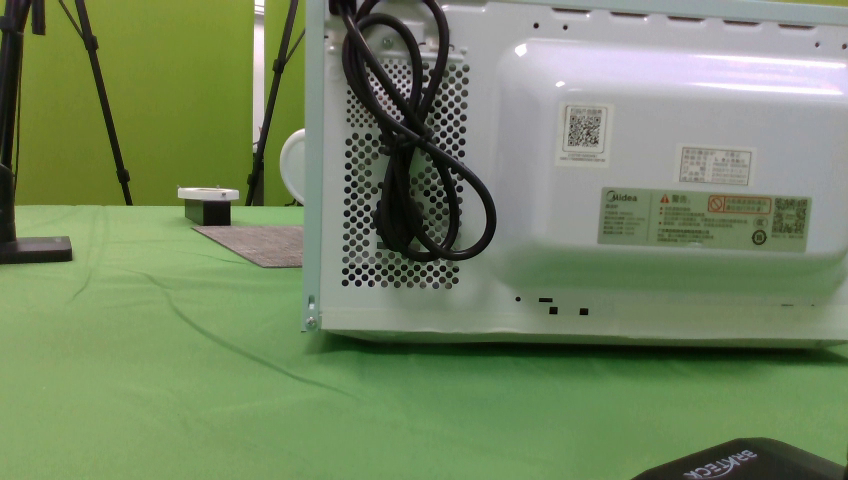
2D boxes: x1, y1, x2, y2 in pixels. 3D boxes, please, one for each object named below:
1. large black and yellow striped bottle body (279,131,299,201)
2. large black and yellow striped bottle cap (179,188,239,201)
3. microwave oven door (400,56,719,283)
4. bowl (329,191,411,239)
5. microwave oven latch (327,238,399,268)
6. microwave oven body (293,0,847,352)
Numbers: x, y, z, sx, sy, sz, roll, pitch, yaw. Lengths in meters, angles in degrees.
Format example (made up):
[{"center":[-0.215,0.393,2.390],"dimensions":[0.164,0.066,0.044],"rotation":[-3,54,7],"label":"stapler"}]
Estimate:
[{"center":[-0.131,-0.132,0.979],"dimensions":[0.130,0.131,0.184],"rotation":[6,23,21],"label":"large black and yellow striped bottle body"},{"center":[-0.434,-0.093,1.226],"dimensions":[0.115,0.019,0.115],"rotation":[3,9,0],"label":"large black and yellow striped bottle cap"},{"center":[0.155,-0.077,0.698],"dimensions":[0.356,0.243,0.039],"rotation":[2,8,-5],"label":"microwave oven door"},{"center":[-0.100,-0.045,1.104],"dimensions":[0.151,0.077,0.151],"rotation":[3,8,0],"label":"bowl"},{"center":[-0.069,0.015,0.694],"dimensions":[0.079,0.029,0.030],"rotation":[3,7,-3],"label":"microwave oven latch"},{"center":[0.122,-0.055,0.550],"dimensions":[0.442,0.260,0.325],"rotation":[3,7,-5],"label":"microwave oven body"}]
